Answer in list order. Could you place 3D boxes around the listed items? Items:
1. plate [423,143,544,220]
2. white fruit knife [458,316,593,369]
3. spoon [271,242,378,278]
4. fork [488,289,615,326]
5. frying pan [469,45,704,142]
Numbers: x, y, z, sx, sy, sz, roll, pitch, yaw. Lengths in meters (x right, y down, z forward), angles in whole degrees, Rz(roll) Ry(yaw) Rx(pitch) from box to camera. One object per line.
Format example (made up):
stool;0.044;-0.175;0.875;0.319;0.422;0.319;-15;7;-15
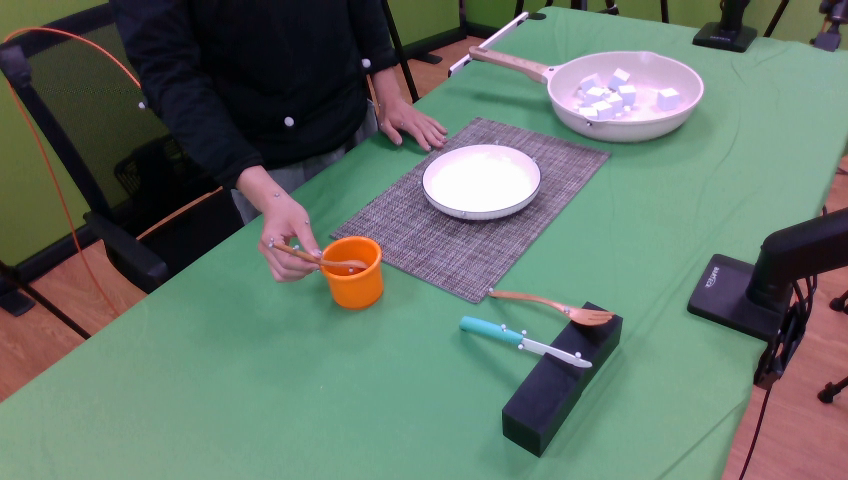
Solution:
plate;0.102;-0.097;1.048;0.207;0.039;0.206;-4;40;4
white fruit knife;0.120;0.127;0.757;0.205;0.027;0.016;12;45;43
spoon;-0.133;0.030;0.841;0.041;0.195;0.021;12;88;39
fork;0.160;0.086;0.800;0.205;0.019;0.028;12;48;48
frying pan;0.307;-0.326;1.239;0.485;0.103;0.307;26;49;22
